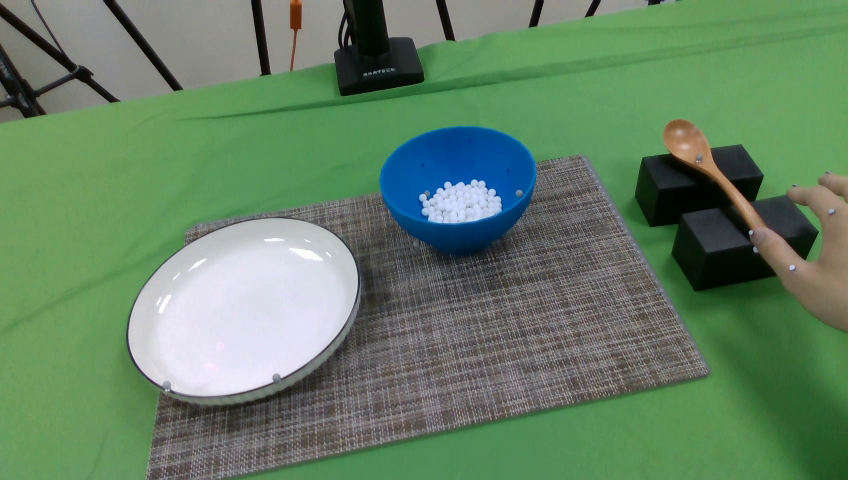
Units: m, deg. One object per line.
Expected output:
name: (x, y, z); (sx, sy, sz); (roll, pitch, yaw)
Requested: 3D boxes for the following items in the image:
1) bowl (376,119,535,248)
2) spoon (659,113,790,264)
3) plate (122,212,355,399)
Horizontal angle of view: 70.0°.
bowl: (0.032, -0.045, 0.599); (0.151, 0.077, 0.150); (-4, 45, 4)
spoon: (0.270, -0.053, 0.550); (0.041, 0.022, 0.191); (-12, 47, -5)
plate: (-0.164, 0.058, 0.556); (0.207, 0.039, 0.205); (-4, 46, 4)
